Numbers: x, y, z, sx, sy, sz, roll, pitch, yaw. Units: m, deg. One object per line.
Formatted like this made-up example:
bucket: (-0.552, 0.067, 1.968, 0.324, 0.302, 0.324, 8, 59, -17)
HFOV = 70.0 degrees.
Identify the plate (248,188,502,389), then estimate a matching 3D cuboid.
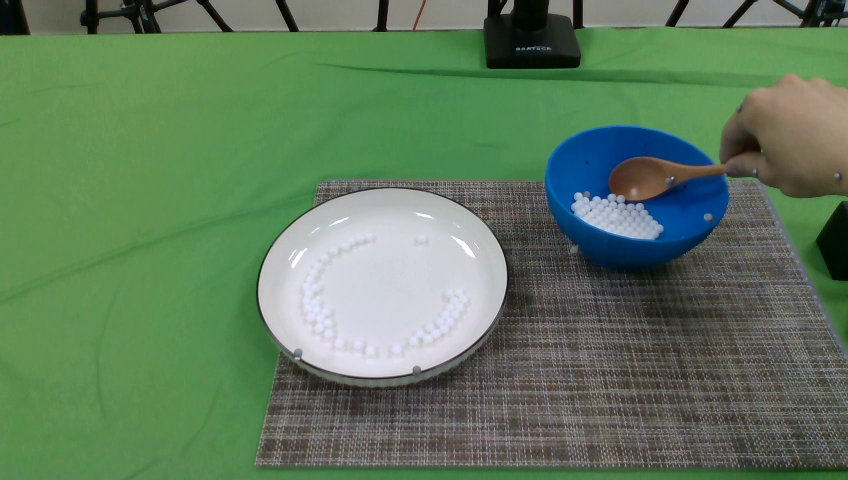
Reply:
plate: (-0.039, 0.038, 0.513, 0.208, 0.039, 0.205, 0, 47, 1)

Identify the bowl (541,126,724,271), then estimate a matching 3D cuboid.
bowl: (0.175, -0.026, 0.539, 0.151, 0.077, 0.150, 0, 47, 1)

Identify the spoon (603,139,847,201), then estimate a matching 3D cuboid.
spoon: (0.237, -0.058, 0.502, 0.021, 0.042, 0.192, -27, 15, -37)
